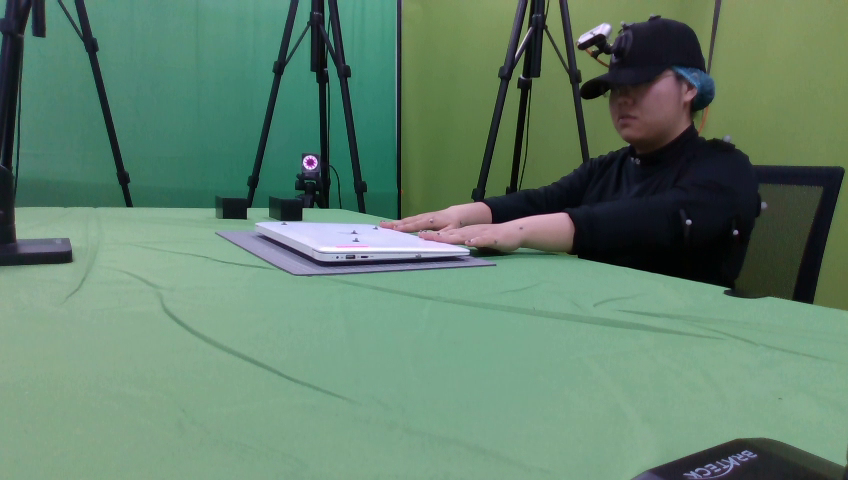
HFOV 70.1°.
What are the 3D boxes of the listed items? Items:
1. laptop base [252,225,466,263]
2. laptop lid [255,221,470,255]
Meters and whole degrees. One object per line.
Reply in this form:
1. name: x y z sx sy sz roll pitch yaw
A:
1. laptop base: -0.117 0.005 0.970 0.237 0.023 0.352 2 6 -30
2. laptop lid: -0.114 -0.006 0.970 0.243 0.013 0.355 2 7 -28
